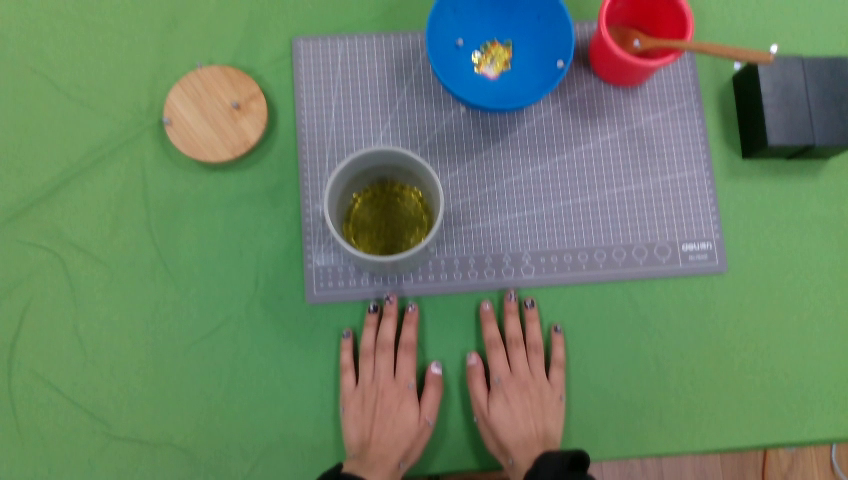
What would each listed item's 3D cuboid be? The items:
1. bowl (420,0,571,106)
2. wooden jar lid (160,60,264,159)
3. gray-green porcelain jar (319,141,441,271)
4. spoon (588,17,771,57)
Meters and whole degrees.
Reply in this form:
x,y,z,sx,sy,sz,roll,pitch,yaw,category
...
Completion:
x,y,z,sx,sy,sz,roll,pitch,yaw,category
0.070,-0.202,0.636,0.151,0.077,0.151,0,81,-2,bowl
-0.225,-0.138,0.648,0.108,0.021,0.108,0,82,-1,wooden jar lid
-0.039,-0.026,0.582,0.106,0.127,0.105,0,81,-2,gray-green porcelain jar
0.248,-0.201,0.608,0.192,0.022,0.041,28,83,47,spoon
